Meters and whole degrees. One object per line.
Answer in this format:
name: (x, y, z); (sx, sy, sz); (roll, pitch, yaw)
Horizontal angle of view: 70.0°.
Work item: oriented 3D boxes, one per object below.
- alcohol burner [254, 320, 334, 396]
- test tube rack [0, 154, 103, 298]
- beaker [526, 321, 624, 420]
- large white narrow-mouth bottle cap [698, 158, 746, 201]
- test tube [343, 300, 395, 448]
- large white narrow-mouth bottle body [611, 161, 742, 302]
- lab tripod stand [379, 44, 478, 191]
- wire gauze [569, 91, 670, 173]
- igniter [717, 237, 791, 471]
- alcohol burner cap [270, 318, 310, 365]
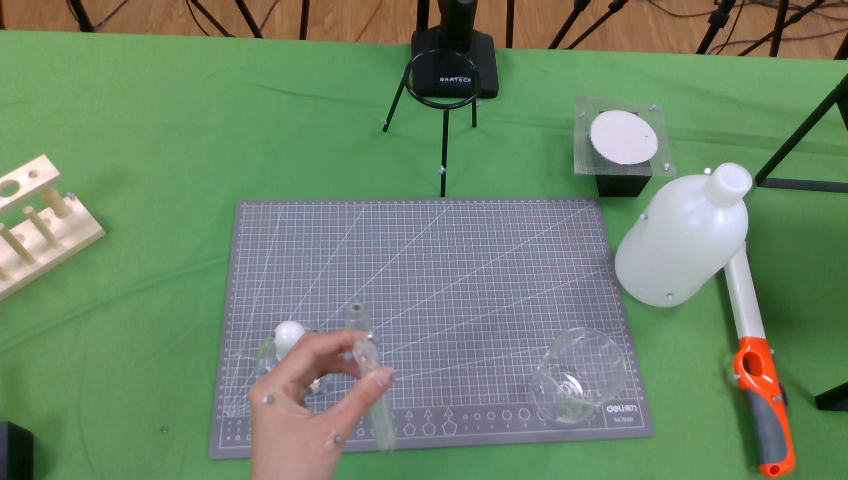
alcohol burner: (-0.127, 0.108, 0.585); (0.078, 0.120, 0.077); (3, 59, -5)
test tube rack: (-0.473, 0.020, 0.621); (0.242, 0.086, 0.066); (-39, 71, -23)
beaker: (0.142, 0.135, 0.604); (0.084, 0.101, 0.073); (-4, 61, -6)
large white narrow-mouth bottle cap: (0.281, -0.058, 0.574); (0.038, 0.024, 0.037); (2, 61, -3)
test tube: (-0.036, 0.098, 0.417); (0.017, 0.151, 0.017); (-4, 40, 3)
large white narrow-mouth bottle body: (0.276, -0.014, 0.647); (0.102, 0.196, 0.101); (2, 60, -3)
lab tripod stand: (0.014, -0.154, 0.736); (0.148, 0.132, 0.147); (3, 62, -5)
wire gauze: (0.242, -0.135, 0.762); (0.121, 0.011, 0.124); (6, 60, -2)
igniter: (0.364, 0.115, 0.680); (0.057, 0.025, 0.274); (10, 60, -11)
alcohol burner cap: (-0.124, 0.091, 0.554); (0.034, 0.048, 0.033); (1, 56, -1)
